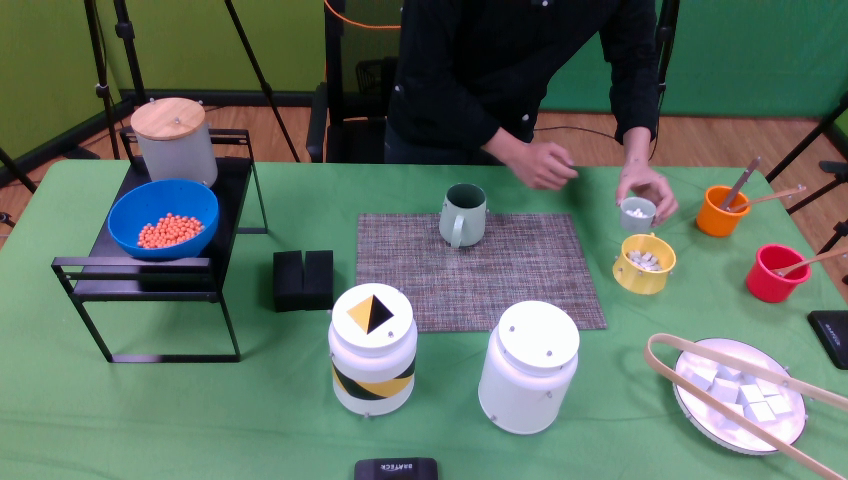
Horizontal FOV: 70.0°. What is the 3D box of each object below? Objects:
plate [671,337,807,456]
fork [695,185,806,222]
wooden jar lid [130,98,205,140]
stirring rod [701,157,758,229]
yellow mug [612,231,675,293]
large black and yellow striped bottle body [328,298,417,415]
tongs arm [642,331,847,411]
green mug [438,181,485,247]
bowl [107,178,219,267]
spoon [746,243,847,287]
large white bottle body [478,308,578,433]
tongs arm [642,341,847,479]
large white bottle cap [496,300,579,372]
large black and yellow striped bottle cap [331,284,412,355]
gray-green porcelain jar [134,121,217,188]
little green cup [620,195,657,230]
[{"bbox_3d":[0.504,0.254,0.984,0.208,0.039,0.206,2,46,-2],"label":"plate"},{"bbox_3d":[0.658,-0.074,1.230,0.207,0.019,0.028,-23,36,37],"label":"fork"},{"bbox_3d":[-0.393,-0.183,0.934,0.108,0.021,0.107,2,44,-2],"label":"wooden jar lid"},{"bbox_3d":[0.634,-0.097,1.257,0.014,0.006,0.176,38,97,30],"label":"stirring rod"},{"bbox_3d":[0.424,0.033,1.168,0.100,0.064,0.130,18,47,14],"label":"yellow mug"},{"bbox_3d":[-0.078,0.167,0.920,0.131,0.185,0.130,2,46,-2],"label":"large black and yellow striped bottle body"},{"bbox_3d":[0.546,0.227,0.968,0.384,0.026,0.050,22,52,13],"label":"tongs arm"},{"bbox_3d":[0.071,-0.039,1.178,0.092,0.105,0.124,12,47,7],"label":"green mug"},{"bbox_3d":[-0.374,-0.014,0.893,0.151,0.077,0.150,2,46,-2],"label":"bowl"},{"bbox_3d":[0.702,0.044,1.126,0.194,0.022,0.041,-29,38,30],"label":"spoon"},{"bbox_3d":[0.155,0.192,0.913,0.131,0.185,0.130,2,46,-2],"label":"large white bottle body"},{"bbox_3d":[0.504,0.278,0.918,0.386,0.028,0.028,34,59,22],"label":"tongs arm"},{"bbox_3d":[0.160,0.133,0.852,0.115,0.018,0.114,3,46,-3],"label":"large white bottle cap"},{"bbox_3d":[-0.073,0.110,0.857,0.115,0.019,0.114,2,46,-2],"label":"large black and yellow striped bottle cap"},{"bbox_3d":[-0.397,-0.141,0.980,0.106,0.127,0.105,2,47,-2],"label":"gray-green porcelain jar"},{"bbox_3d":[0.380,-0.048,1.082,0.061,0.039,0.061,2,39,-1],"label":"little green cup"}]
